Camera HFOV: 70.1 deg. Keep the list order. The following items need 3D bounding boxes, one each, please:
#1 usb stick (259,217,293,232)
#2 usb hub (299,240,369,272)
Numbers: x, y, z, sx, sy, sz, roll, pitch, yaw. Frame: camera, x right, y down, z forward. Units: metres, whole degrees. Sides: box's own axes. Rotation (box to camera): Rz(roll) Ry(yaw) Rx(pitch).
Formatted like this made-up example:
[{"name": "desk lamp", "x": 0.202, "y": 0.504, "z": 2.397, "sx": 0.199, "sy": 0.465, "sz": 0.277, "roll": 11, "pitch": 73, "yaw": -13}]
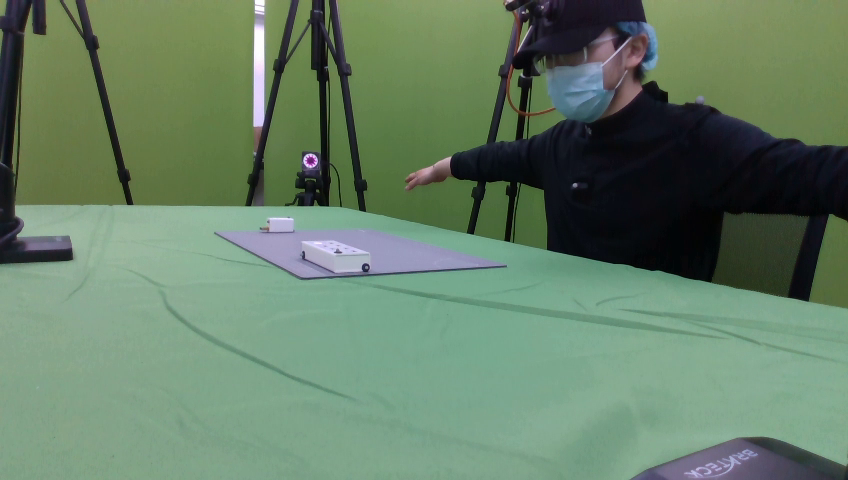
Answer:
[{"name": "usb stick", "x": -0.268, "y": -0.028, "z": 1.094, "sx": 0.059, "sy": 0.027, "sz": 0.021, "roll": -5, "pitch": 12, "yaw": -32}, {"name": "usb hub", "x": -0.119, "y": 0.019, "z": 0.782, "sx": 0.050, "sy": 0.025, "sz": 0.124, "roll": -2, "pitch": 8, "yaw": -31}]
